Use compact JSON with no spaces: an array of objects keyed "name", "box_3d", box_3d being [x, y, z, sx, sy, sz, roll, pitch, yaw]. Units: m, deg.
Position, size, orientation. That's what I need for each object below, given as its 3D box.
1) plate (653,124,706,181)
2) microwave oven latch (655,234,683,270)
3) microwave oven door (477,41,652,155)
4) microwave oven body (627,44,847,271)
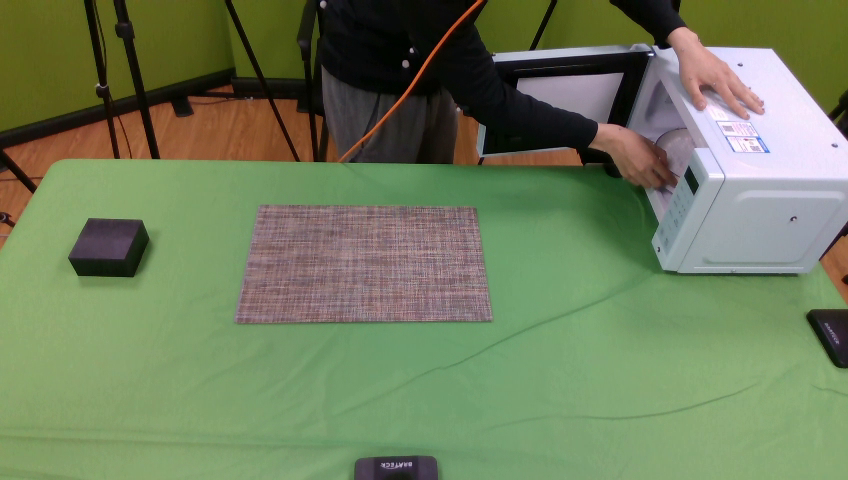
[{"name":"plate","box_3d":[0.595,-0.173,1.306,0.209,0.038,0.208,2,47,-1]},{"name":"microwave oven latch","box_3d":[0.473,0.021,1.176,0.030,0.029,0.078,2,46,0]},{"name":"microwave oven door","box_3d":[0.304,-0.311,1.336,0.356,0.245,0.039,-7,47,-10]},{"name":"microwave oven body","box_3d":[0.619,-0.172,1.234,0.326,0.261,0.439,0,46,-3]}]
